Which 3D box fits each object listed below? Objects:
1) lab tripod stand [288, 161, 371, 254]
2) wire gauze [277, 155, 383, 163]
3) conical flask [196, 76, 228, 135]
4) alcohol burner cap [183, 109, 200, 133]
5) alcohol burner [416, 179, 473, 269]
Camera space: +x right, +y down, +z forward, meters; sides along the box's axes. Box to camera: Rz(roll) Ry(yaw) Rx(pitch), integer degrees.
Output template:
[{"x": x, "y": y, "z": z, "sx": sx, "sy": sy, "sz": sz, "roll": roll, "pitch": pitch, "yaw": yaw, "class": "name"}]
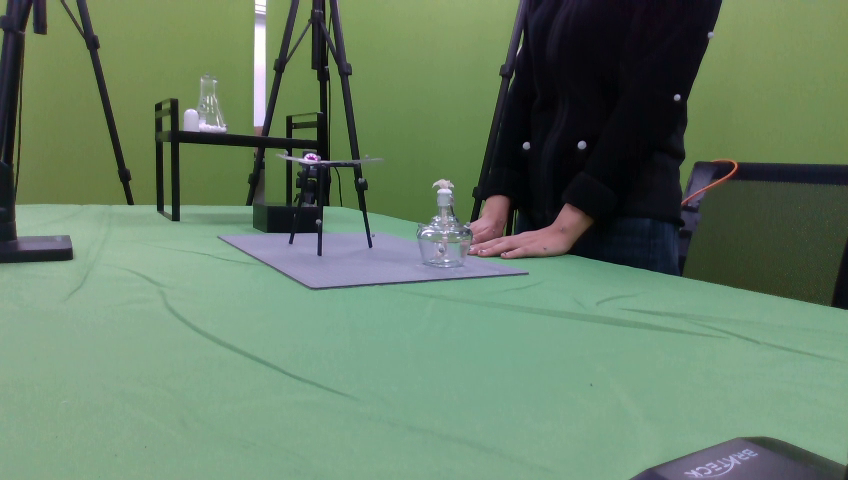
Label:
[{"x": -0.148, "y": -0.052, "z": 0.908, "sx": 0.148, "sy": 0.131, "sz": 0.148, "roll": 1, "pitch": 8, "yaw": 0, "class": "lab tripod stand"}, {"x": -0.142, "y": -0.118, "z": 0.899, "sx": 0.122, "sy": 0.011, "sz": 0.124, "roll": -3, "pitch": 8, "yaw": -36, "class": "wire gauze"}, {"x": -0.465, "y": -0.291, "z": 1.311, "sx": 0.075, "sy": 0.122, "sz": 0.075, "roll": 2, "pitch": 7, "yaw": 0, "class": "conical flask"}, {"x": -0.472, "y": -0.241, "z": 1.229, "sx": 0.034, "sy": 0.048, "sz": 0.034, "roll": 4, "pitch": 8, "yaw": 0, "class": "alcohol burner cap"}, {"x": 0.027, "y": -0.022, "z": 0.816, "sx": 0.078, "sy": 0.119, "sz": 0.078, "roll": 0, "pitch": 7, "yaw": 0, "class": "alcohol burner"}]
